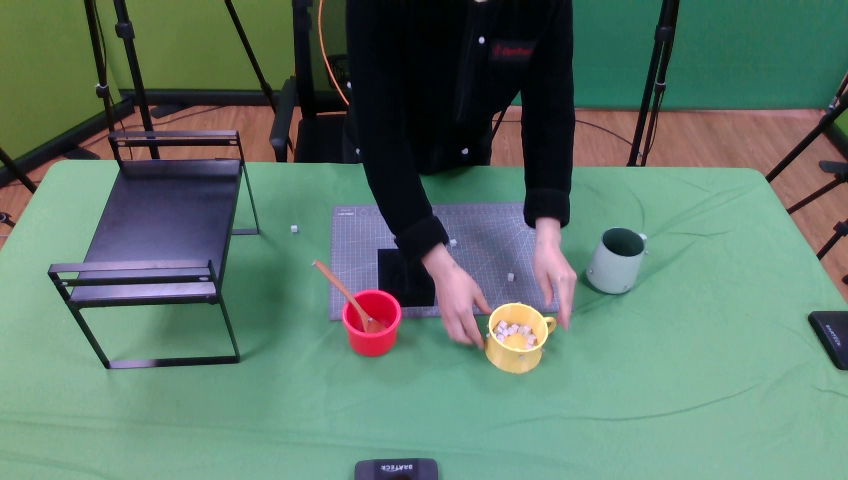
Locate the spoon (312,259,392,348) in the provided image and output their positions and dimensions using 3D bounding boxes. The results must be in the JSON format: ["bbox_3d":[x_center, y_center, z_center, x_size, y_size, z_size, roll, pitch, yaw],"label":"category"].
[{"bbox_3d":[-0.119,0.104,1.004,0.194,0.021,0.041,54,50,-14],"label":"spoon"}]

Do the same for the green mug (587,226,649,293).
[{"bbox_3d":[0.372,0.031,1.136,0.125,0.105,0.092,-27,53,-26],"label":"green mug"}]

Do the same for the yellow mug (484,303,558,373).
[{"bbox_3d":[0.169,0.160,1.025,0.131,0.064,0.099,-15,49,-19],"label":"yellow mug"}]
